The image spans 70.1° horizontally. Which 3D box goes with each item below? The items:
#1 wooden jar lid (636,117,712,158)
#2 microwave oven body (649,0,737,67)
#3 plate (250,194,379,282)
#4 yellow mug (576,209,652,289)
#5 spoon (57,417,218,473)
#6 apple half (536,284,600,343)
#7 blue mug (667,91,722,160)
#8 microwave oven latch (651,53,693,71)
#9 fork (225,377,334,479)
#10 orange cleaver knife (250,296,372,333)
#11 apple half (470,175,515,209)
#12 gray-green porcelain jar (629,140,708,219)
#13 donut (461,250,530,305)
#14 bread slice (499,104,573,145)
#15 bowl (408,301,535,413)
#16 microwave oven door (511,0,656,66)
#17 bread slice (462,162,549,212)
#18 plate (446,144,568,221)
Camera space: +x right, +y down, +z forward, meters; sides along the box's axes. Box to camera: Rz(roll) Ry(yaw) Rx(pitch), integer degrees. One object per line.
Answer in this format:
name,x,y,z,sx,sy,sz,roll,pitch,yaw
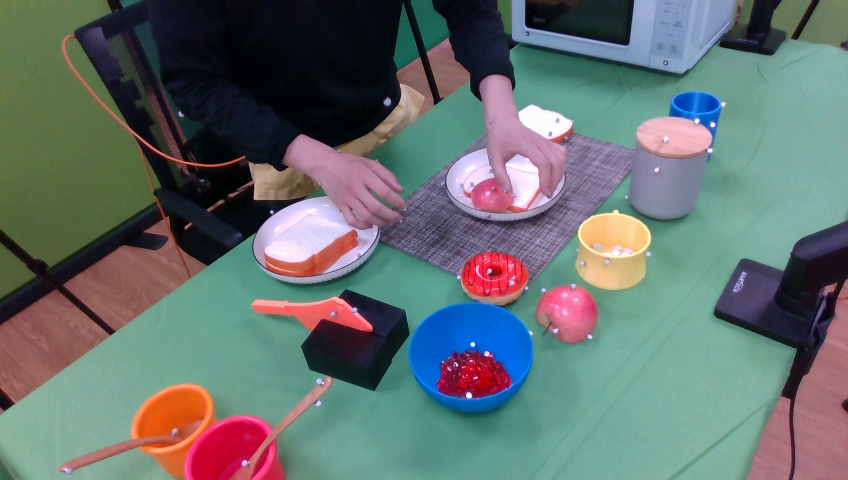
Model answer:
wooden jar lid,0.377,-0.151,0.917,0.108,0.021,0.108,-2,41,3
microwave oven body,0.475,-0.602,1.411,0.438,0.261,0.327,23,50,32
plate,-0.174,-0.001,0.985,0.209,0.038,0.208,-3,40,3
yellow mug,0.279,0.004,0.893,0.099,0.064,0.130,5,41,15
spoon,-0.304,0.221,0.661,0.041,0.195,0.021,19,92,27
apple half,0.196,0.091,0.815,0.075,0.053,0.080,-22,42,-20
blue mug,0.473,-0.207,1.079,0.082,0.106,0.116,4,42,13
microwave oven latch,0.532,-0.386,1.301,0.078,0.029,0.030,27,52,34
fork,-0.163,0.216,0.646,0.207,0.019,0.028,-49,42,16
orange cleaver knife,-0.159,0.103,0.828,0.210,0.078,0.012,-4,43,39
apple half,0.114,-0.086,1.004,0.081,0.033,0.081,-4,43,4
gray-green porcelain jar,0.383,-0.105,0.958,0.106,0.127,0.105,-4,41,4
donut,0.103,0.053,0.872,0.099,0.048,0.098,-5,40,5
bread slice,0.231,-0.232,1.205,0.105,0.019,0.130,-36,47,-29
bowl,0.060,0.156,0.739,0.151,0.077,0.150,-4,40,4
microwave oven door,0.351,-0.540,1.349,0.353,0.245,0.039,24,50,31
bread slice,0.135,-0.093,1.045,0.133,0.018,0.107,15,45,23
plate,0.142,-0.096,1.045,0.207,0.039,0.206,-4,40,4
